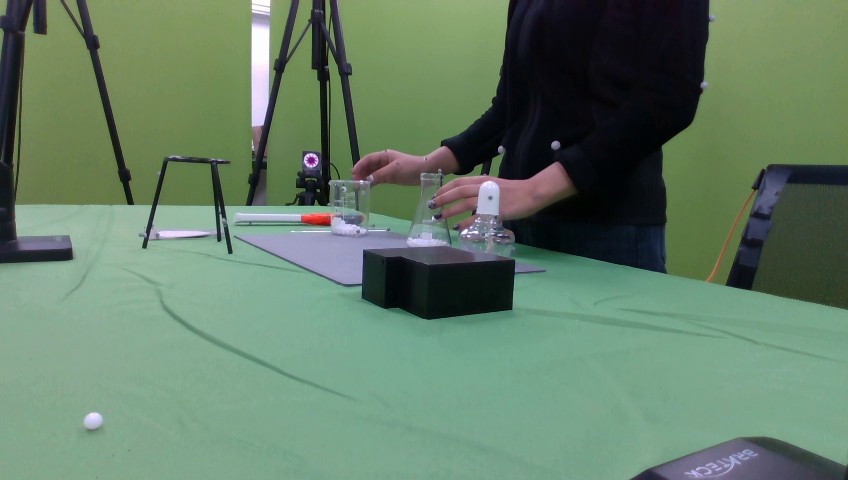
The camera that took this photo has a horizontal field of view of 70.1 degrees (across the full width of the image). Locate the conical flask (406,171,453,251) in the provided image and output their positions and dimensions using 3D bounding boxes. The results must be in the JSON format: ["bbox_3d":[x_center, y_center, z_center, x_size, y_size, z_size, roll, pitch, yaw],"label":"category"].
[{"bbox_3d":[0.011,-0.046,0.948,0.075,0.122,0.075,2,8,0],"label":"conical flask"}]

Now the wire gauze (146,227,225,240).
[{"bbox_3d":[-0.400,-0.012,1.019,0.122,0.011,0.124,-1,6,-26],"label":"wire gauze"}]

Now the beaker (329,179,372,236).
[{"bbox_3d":[-0.137,-0.061,1.101,0.084,0.100,0.074,4,7,21],"label":"beaker"}]

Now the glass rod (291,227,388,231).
[{"bbox_3d":[-0.161,-0.023,1.177,0.201,0.008,0.008,-2,8,-29],"label":"glass rod"}]

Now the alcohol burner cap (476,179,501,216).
[{"bbox_3d":[0.086,-0.057,0.801,0.034,0.048,0.034,4,2,0],"label":"alcohol burner cap"}]

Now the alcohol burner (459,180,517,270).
[{"bbox_3d":[0.086,-0.021,0.805,0.078,0.119,0.078,3,10,0],"label":"alcohol burner"}]

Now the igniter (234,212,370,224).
[{"bbox_3d":[-0.247,-0.046,1.253,0.278,0.025,0.057,-1,-2,-27],"label":"igniter"}]

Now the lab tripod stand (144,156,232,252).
[{"bbox_3d":[-0.325,-0.054,0.881,0.148,0.131,0.148,4,7,0],"label":"lab tripod stand"}]
